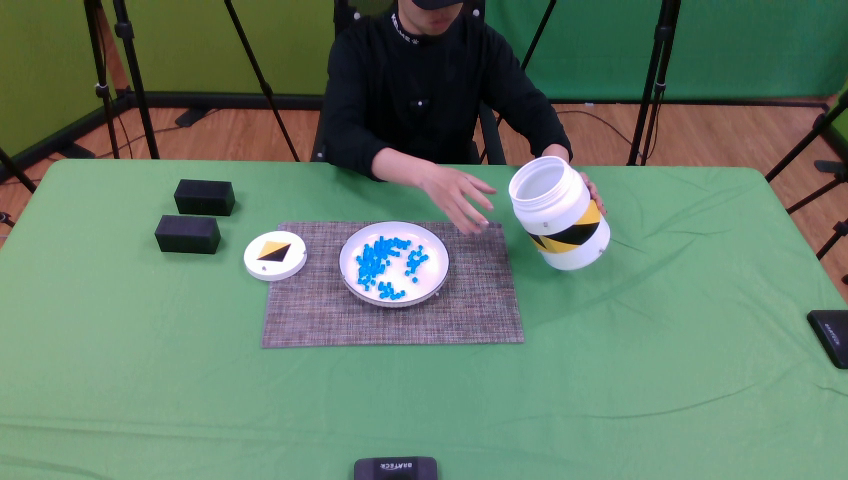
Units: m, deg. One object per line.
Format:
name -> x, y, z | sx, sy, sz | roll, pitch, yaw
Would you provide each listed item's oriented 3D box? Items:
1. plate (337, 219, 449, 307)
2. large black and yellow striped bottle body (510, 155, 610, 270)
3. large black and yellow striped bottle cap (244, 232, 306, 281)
plate -> -0.057, 0.045, 1.132 | 0.208, 0.039, 0.206 | 2, 46, -2
large black and yellow striped bottle body -> 0.240, -0.049, 1.077 | 0.131, 0.185, 0.130 | -24, 37, 20
large black and yellow striped bottle cap -> -0.282, 0.030, 1.145 | 0.115, 0.019, 0.114 | -1, 45, 1
